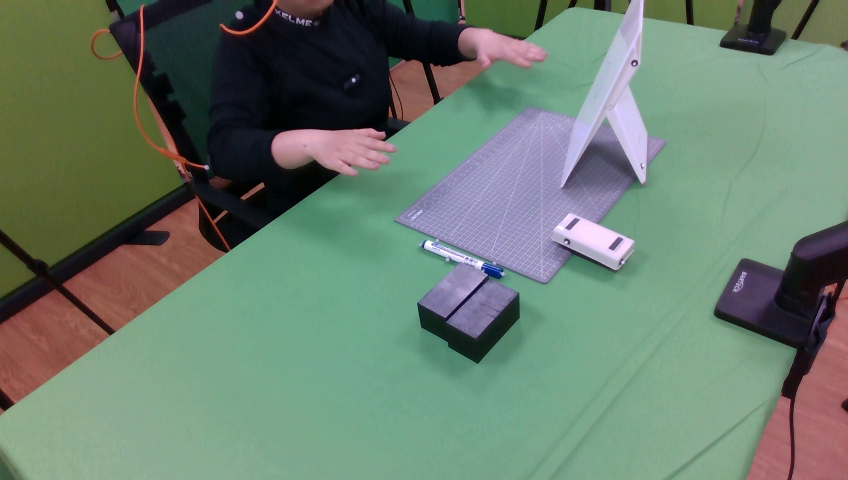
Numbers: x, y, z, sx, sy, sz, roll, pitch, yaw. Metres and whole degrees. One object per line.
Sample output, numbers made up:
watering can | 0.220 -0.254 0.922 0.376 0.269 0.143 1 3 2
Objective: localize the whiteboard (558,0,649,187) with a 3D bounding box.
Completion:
whiteboard | 0.361 -0.238 1.026 0.144 0.306 0.217 21 44 3

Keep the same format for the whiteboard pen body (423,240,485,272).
whiteboard pen body | 0.057 0.027 0.942 0.139 0.017 0.017 22 48 30

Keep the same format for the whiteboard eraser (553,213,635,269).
whiteboard eraser | 0.257 0.003 0.918 0.112 0.042 0.056 27 49 30

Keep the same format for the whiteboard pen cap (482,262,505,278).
whiteboard pen cap | 0.104 0.044 0.912 0.033 0.018 0.018 22 49 29
